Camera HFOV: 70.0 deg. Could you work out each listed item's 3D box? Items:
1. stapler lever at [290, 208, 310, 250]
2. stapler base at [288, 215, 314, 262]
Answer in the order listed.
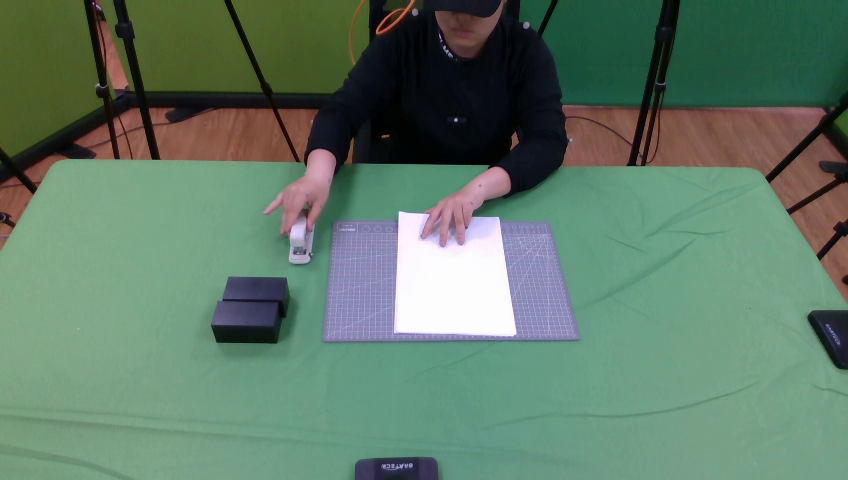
[{"bbox_3d":[-0.238,-0.029,1.167,0.027,0.040,0.117,2,42,-6],"label":"stapler lever"},{"bbox_3d":[-0.239,-0.009,1.183,0.041,0.024,0.129,2,42,-6],"label":"stapler base"}]
